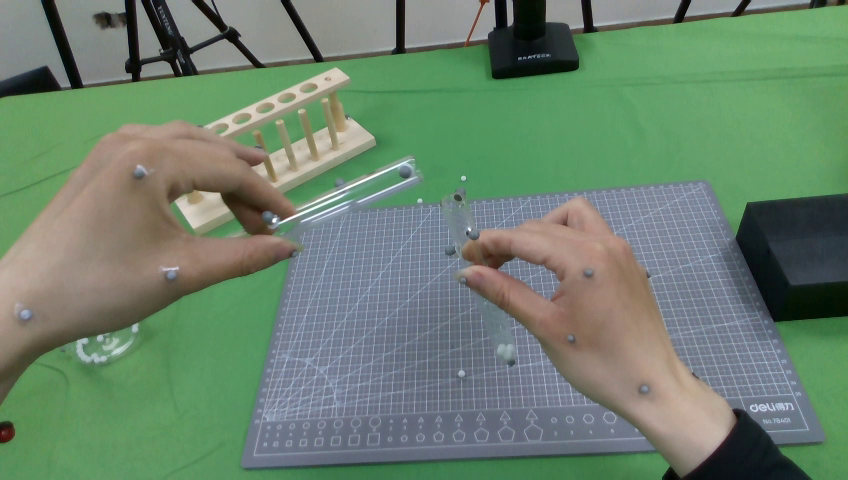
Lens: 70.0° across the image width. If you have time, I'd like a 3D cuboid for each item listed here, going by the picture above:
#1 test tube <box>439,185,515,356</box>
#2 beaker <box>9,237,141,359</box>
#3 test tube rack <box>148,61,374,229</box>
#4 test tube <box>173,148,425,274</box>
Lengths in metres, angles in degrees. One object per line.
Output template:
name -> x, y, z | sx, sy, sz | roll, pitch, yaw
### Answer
test tube -> 0.036, 0.026, 0.383 | 0.017, 0.152, 0.017 | -12, 41, 12
beaker -> -0.318, 0.056, 0.568 | 0.073, 0.101, 0.083 | 17, 51, 23
test tube rack -> -0.185, -0.116, 0.718 | 0.242, 0.086, 0.066 | -31, 50, -19
test tube -> -0.070, -0.014, 0.325 | 0.150, 0.017, 0.017 | -22, 45, 9
